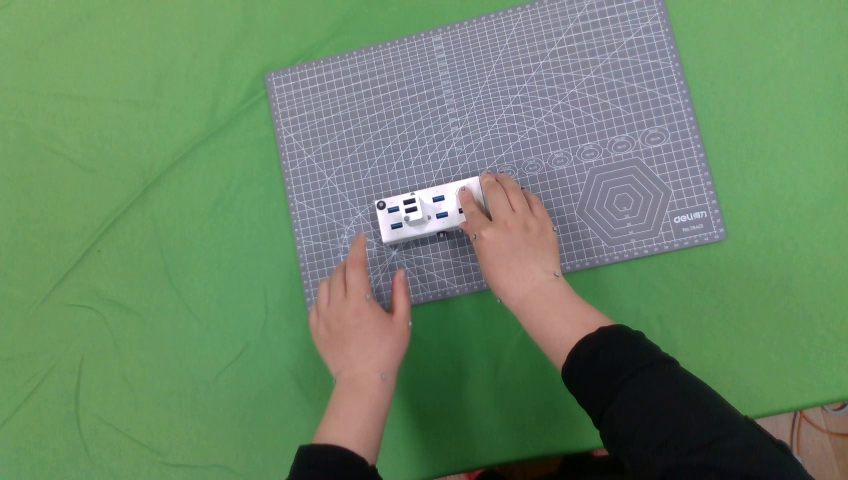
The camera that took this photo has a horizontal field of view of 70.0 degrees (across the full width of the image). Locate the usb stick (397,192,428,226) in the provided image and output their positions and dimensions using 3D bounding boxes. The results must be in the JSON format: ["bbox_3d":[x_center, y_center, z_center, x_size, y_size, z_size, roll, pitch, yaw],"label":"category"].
[{"bbox_3d":[-0.010,-0.030,0.625,0.021,0.059,0.027,-16,80,7],"label":"usb stick"}]

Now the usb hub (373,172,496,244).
[{"bbox_3d":[0.011,-0.034,0.652,0.125,0.025,0.049,-14,82,7],"label":"usb hub"}]
